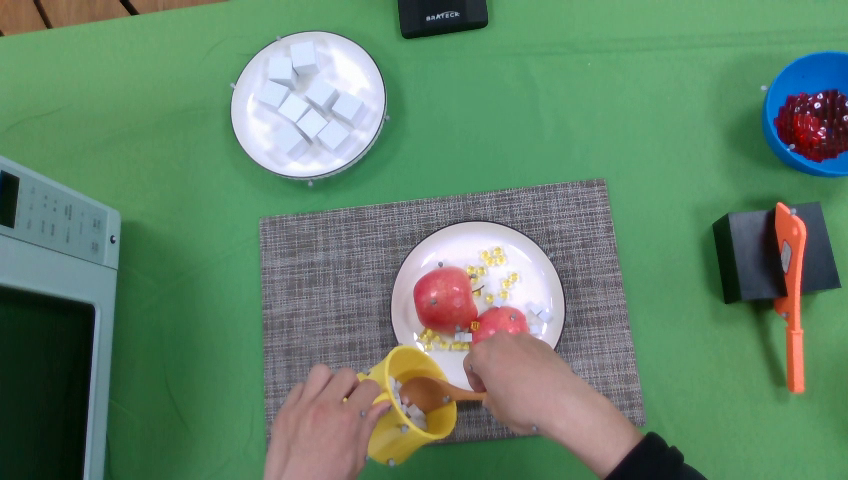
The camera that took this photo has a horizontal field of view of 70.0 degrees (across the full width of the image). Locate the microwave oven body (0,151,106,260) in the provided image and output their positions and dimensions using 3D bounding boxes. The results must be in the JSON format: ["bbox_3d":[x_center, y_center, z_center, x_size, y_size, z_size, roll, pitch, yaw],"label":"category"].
[{"bbox_3d":[-0.563,0.148,0.656,0.326,0.261,0.439,-3,78,4],"label":"microwave oven body"}]

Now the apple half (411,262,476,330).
[{"bbox_3d":[0.021,0.065,0.717,0.074,0.053,0.080,-9,78,6],"label":"apple half"}]

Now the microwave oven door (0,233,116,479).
[{"bbox_3d":[-0.417,0.181,0.630,0.039,0.245,0.354,-3,77,5],"label":"microwave oven door"}]

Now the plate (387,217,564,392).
[{"bbox_3d":[0.060,0.076,0.727,0.209,0.038,0.208,-1,79,5],"label":"plate"}]

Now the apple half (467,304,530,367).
[{"bbox_3d":[0.087,0.112,0.711,0.081,0.033,0.081,-2,75,6],"label":"apple half"}]

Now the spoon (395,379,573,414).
[{"bbox_3d":[0.052,0.151,0.589,0.193,0.021,0.042,-12,106,35],"label":"spoon"}]

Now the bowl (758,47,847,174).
[{"bbox_3d":[0.464,-0.141,0.717,0.151,0.077,0.150,-1,78,6],"label":"bowl"}]

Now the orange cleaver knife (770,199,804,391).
[{"bbox_3d":[0.404,0.061,0.678,0.012,0.077,0.212,-5,101,8],"label":"orange cleaver knife"}]

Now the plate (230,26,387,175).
[{"bbox_3d":[-0.150,-0.182,0.805,0.207,0.039,0.206,-1,78,5],"label":"plate"}]

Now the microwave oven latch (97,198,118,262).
[{"bbox_3d":[-0.412,-0.012,0.774,0.030,0.029,0.079,-1,79,5],"label":"microwave oven latch"}]

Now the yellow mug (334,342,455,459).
[{"bbox_3d":[-0.035,0.161,0.601,0.064,0.132,0.099,-38,65,28],"label":"yellow mug"}]
